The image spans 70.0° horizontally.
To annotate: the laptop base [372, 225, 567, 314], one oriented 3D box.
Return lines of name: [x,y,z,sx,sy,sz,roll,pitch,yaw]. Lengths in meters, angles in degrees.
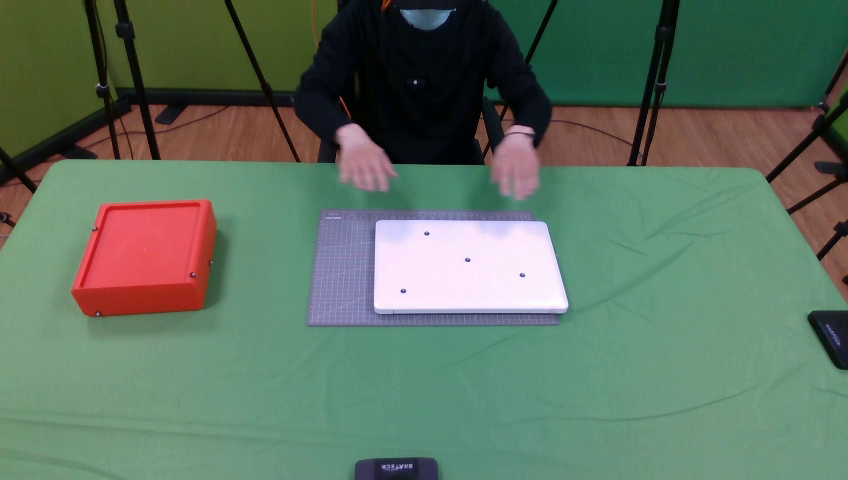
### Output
laptop base: [0.080,0.049,1.159,0.355,0.023,0.234,0,43,-4]

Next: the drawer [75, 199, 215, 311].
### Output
drawer: [-0.494,0.023,1.097,0.195,0.073,0.210,-2,47,-8]

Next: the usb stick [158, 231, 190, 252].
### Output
usb stick: [-0.475,0.001,1.145,0.059,0.027,0.021,12,43,9]

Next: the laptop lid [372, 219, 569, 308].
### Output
laptop lid: [0.081,0.039,1.152,0.357,0.013,0.240,2,44,-3]

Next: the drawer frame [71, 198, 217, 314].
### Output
drawer frame: [-0.493,0.024,1.095,0.202,0.083,0.212,-3,47,-8]
